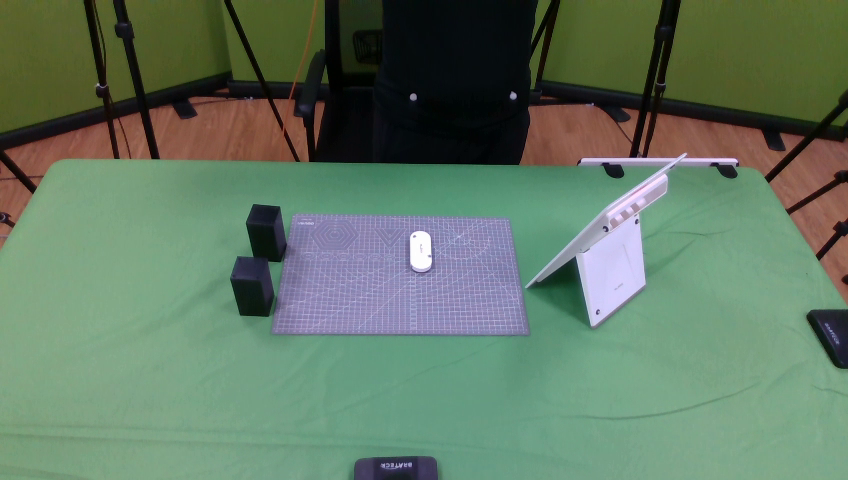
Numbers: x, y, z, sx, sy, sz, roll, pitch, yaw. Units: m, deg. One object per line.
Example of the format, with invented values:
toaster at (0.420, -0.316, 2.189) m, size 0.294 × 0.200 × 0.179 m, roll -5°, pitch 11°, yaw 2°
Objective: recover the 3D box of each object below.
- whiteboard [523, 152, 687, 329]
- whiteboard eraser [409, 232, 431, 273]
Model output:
whiteboard at (0.346, 0.025, 1.046) m, size 0.217 × 0.306 × 0.143 m, roll -30°, pitch 74°, yaw -29°
whiteboard eraser at (-0.008, 0.023, 1.173) m, size 0.041 × 0.019 × 0.100 m, roll 1°, pitch 45°, yaw -2°
